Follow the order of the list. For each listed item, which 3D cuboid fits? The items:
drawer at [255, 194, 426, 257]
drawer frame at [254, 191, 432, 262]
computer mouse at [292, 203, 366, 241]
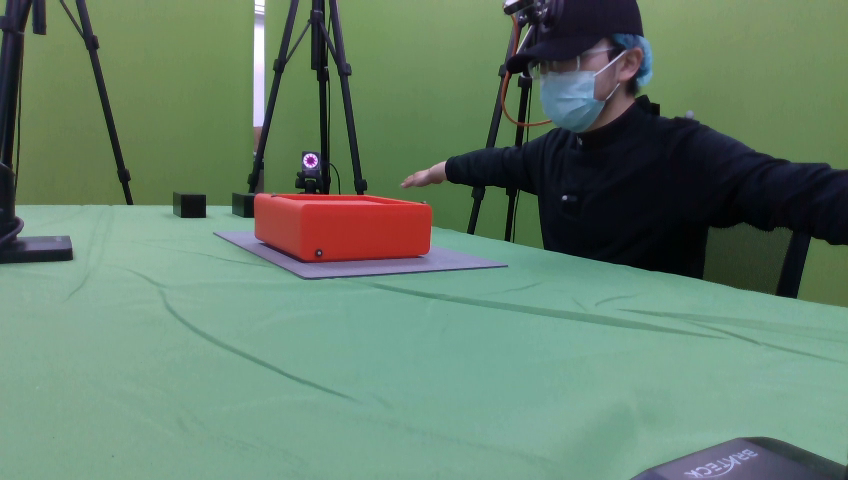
[{"bbox_3d":[-0.130,-0.026,0.912,0.195,0.073,0.210,-1,9,-31],"label":"drawer"},{"bbox_3d":[-0.128,-0.027,0.911,0.203,0.082,0.212,-1,9,-32],"label":"drawer frame"},{"bbox_3d":[-0.151,-0.030,0.956,0.117,0.041,0.062,-12,25,-2],"label":"computer mouse"}]
